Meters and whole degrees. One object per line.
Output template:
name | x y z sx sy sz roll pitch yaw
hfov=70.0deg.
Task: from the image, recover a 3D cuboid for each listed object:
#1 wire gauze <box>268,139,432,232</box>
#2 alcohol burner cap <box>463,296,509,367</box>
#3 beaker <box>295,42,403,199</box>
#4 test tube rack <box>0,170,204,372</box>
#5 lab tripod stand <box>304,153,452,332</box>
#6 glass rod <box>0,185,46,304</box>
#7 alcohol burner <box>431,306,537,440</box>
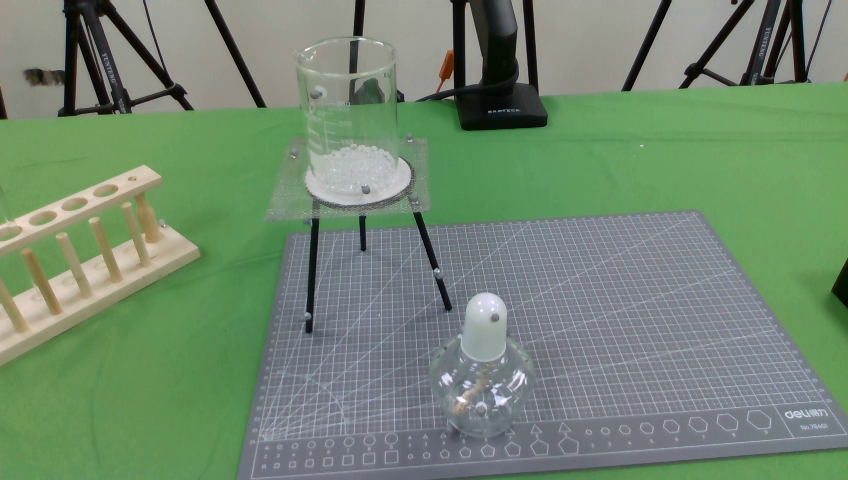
wire gauze | -0.055 -0.049 0.487 0.121 0.011 0.124 -2 40 0
alcohol burner cap | 0.043 0.059 0.409 0.034 0.048 0.033 1 39 0
beaker | -0.057 -0.089 0.459 0.083 0.101 0.074 22 43 25
test tube rack | -0.333 0.031 0.546 0.066 0.086 0.242 28 46 33
lab tripod stand | -0.045 0.001 0.530 0.148 0.132 0.147 0 37 0
glass rod | -0.357 -0.028 0.515 0.008 0.201 0.008 0 30 1
alcohol burner | 0.043 0.087 0.431 0.078 0.120 0.077 0 40 1
